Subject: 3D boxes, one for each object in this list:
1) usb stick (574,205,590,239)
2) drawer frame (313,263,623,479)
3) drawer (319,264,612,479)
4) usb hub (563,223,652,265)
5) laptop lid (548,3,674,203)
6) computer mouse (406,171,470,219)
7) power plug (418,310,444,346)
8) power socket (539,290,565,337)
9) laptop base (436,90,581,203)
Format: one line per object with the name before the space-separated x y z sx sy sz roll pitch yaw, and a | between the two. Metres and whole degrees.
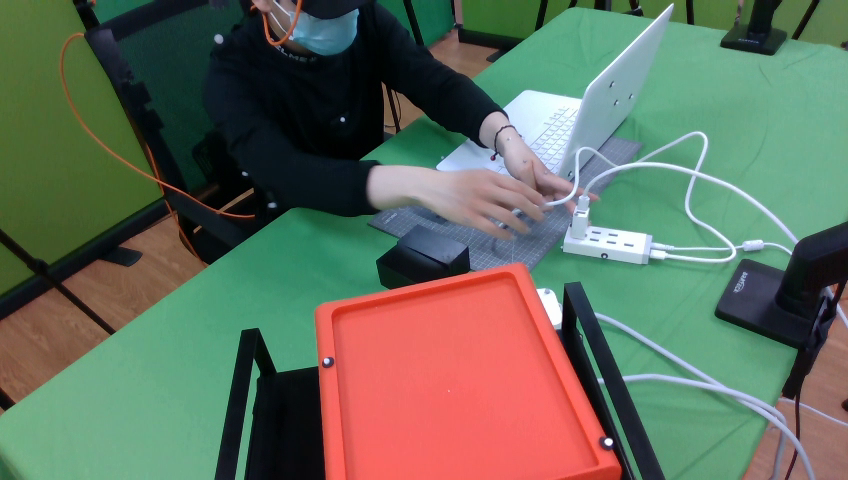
usb stick | 0.240 -0.022 0.914 0.021 0.059 0.027 -3 32 17
drawer frame | 0.021 0.130 0.493 0.202 0.083 0.212 -11 41 -6
drawer | 0.020 0.129 0.497 0.195 0.073 0.210 -11 41 -5
usb hub | 0.280 0.005 0.924 0.124 0.025 0.049 10 44 17
laptop lid | 0.321 -0.235 1.026 0.013 0.242 0.357 31 50 20
computer mouse | 0.024 -0.082 1.049 0.063 0.041 0.116 -29 50 -28
power plug | 0.007 0.122 0.785 0.035 0.053 0.072 0 39 7
power socket | 0.081 0.112 0.822 0.227 0.033 0.072 -6 41 0
laptop base | 0.215 -0.192 1.172 0.233 0.023 0.355 19 46 32
